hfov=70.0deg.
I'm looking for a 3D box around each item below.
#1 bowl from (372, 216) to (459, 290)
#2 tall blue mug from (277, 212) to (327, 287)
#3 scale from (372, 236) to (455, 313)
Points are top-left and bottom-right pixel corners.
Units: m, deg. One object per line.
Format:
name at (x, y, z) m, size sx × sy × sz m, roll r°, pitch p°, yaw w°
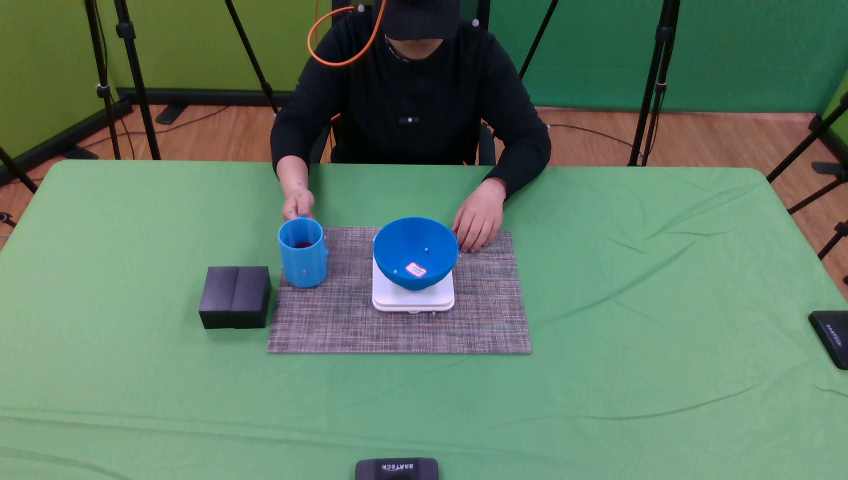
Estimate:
bowl at (-0.016, 0.036, 1.075) m, size 0.151 × 0.077 × 0.150 m, roll 2°, pitch 46°, yaw -1°
tall blue mug at (-0.225, 0.012, 1.089) m, size 0.078 × 0.108 × 0.106 m, roll -25°, pitch 56°, yaw -23°
scale at (-0.022, 0.051, 1.134) m, size 0.149 × 0.032 × 0.199 m, roll 1°, pitch 46°, yaw -4°
